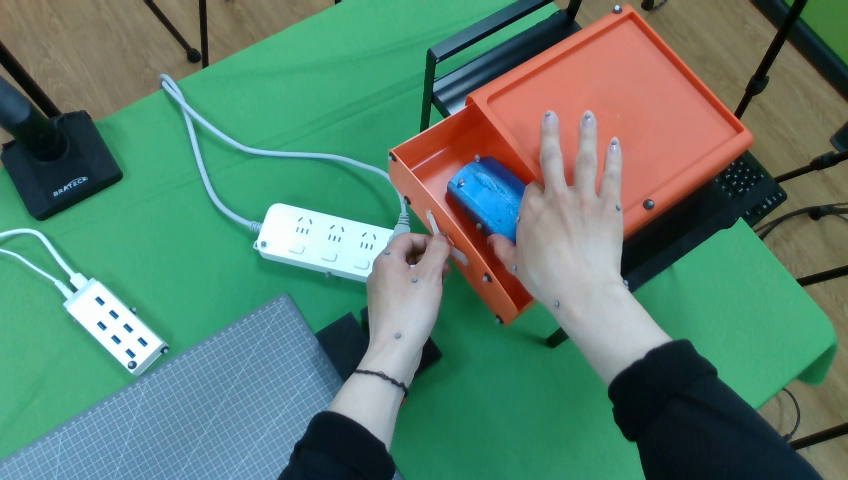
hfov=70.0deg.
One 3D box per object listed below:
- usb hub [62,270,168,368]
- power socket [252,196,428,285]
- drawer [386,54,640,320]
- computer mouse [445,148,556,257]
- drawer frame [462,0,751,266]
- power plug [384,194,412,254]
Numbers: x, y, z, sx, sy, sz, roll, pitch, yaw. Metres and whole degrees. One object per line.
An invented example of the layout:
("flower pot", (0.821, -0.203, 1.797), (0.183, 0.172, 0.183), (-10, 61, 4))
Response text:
("usb hub", (-0.372, 0.094, 0.728), (0.124, 0.025, 0.049), (40, 74, 9))
("power socket", (-0.106, 0.000, 0.776), (0.227, 0.033, 0.072), (14, 70, 1))
("drawer", (0.101, -0.060, 0.597), (0.212, 0.073, 0.193), (-34, 76, -14))
("computer mouse", (0.076, -0.041, 0.604), (0.063, 0.041, 0.116), (-36, 73, -10))
("drawer frame", (0.177, -0.113, 0.621), (0.213, 0.083, 0.200), (-33, 76, -15))
("power plug", (-0.025, -0.016, 0.768), (0.035, 0.053, 0.072), (24, 69, 5))
